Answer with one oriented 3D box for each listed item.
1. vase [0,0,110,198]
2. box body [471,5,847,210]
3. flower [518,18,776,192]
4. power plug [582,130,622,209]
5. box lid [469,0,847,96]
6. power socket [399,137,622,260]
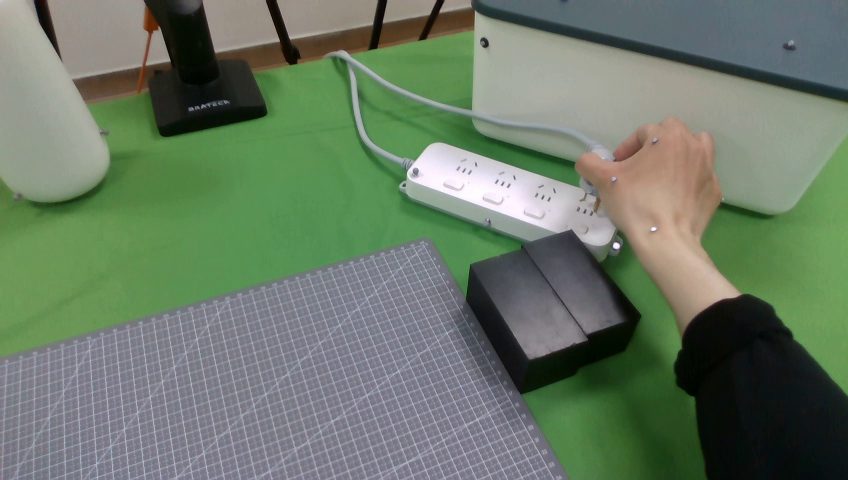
[{"bbox_3d":[-0.363,-0.134,0.548,0.098,0.202,0.097,2,46,-1],"label":"vase"},{"bbox_3d":[0.252,-0.203,0.659,0.362,0.162,0.253,19,50,14],"label":"box body"},{"bbox_3d":[0.253,-0.164,0.719,0.044,0.038,0.358,-44,66,-7],"label":"flower"},{"bbox_3d":[0.168,-0.065,0.564,0.035,0.053,0.072,11,36,15],"label":"power plug"},{"bbox_3d":[0.255,-0.252,0.604,0.370,0.015,0.262,19,50,14],"label":"box lid"},{"bbox_3d":[0.085,-0.045,0.596,0.225,0.033,0.072,21,50,17],"label":"power socket"}]
